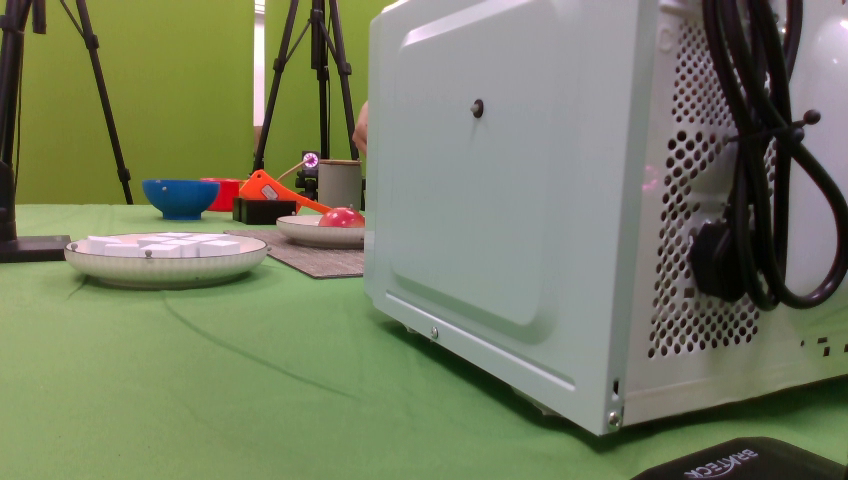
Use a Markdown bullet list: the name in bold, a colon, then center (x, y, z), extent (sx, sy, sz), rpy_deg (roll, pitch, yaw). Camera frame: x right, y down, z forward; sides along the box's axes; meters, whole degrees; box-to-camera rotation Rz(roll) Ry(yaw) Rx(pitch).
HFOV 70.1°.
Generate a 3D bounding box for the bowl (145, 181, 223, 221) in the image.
- **bowl**: center (-0.499, -0.081, 1.261), extent (0.151, 0.077, 0.151), rpy_deg (2, 8, 0)

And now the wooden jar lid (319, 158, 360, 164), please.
- **wooden jar lid**: center (-0.203, -0.189, 1.482), extent (0.108, 0.020, 0.108), rpy_deg (2, 10, 0)

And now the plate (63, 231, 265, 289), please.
- **plate**: center (-0.288, 0.021, 0.687), extent (0.208, 0.039, 0.207), rpy_deg (2, 8, 0)

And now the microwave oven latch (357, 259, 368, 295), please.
- **microwave oven latch**: center (-0.019, 0.031, 0.529), extent (0.079, 0.029, 0.030), rpy_deg (-1, 7, -26)

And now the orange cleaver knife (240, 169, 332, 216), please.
- **orange cleaver knife**: center (-0.286, -0.082, 1.298), extent (0.212, 0.077, 0.012), rpy_deg (25, -2, -31)

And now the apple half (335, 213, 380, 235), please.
- **apple half**: center (-0.112, -0.029, 1.034), extent (0.081, 0.033, 0.081), rpy_deg (-1, 9, 0)

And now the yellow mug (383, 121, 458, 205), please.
- **yellow mug**: center (0.001, -0.125, 0.942), extent (0.100, 0.130, 0.064), rpy_deg (-10, 48, -46)

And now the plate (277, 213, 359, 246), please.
- **plate**: center (-0.135, -0.018, 0.993), extent (0.209, 0.038, 0.209), rpy_deg (2, 7, 0)

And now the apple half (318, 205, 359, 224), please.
- **apple half**: center (-0.126, -0.028, 0.954), extent (0.081, 0.053, 0.074), rpy_deg (-2, 10, -33)

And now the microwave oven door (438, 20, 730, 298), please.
- **microwave oven door**: center (0.181, -0.076, 0.618), extent (0.358, 0.243, 0.039), rpy_deg (-2, 8, -28)

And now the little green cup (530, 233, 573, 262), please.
- **little green cup**: center (0.184, 0.010, 0.879), extent (0.061, 0.038, 0.061), rpy_deg (2, 5, 0)

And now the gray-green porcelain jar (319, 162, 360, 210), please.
- **gray-green porcelain jar**: center (-0.204, -0.126, 1.489), extent (0.106, 0.126, 0.106), rpy_deg (2, 7, 0)

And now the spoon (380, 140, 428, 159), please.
- **spoon**: center (-0.040, -0.159, 1.025), extent (0.042, 0.021, 0.193), rpy_deg (-17, 22, -17)

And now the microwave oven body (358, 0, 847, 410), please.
- **microwave oven body**: center (0.210, -0.051, 0.471), extent (0.444, 0.260, 0.324), rpy_deg (-1, 7, -28)

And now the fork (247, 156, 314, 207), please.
- **fork**: center (-0.360, -0.147, 1.522), extent (0.207, 0.018, 0.028), rpy_deg (-43, 15, -7)
